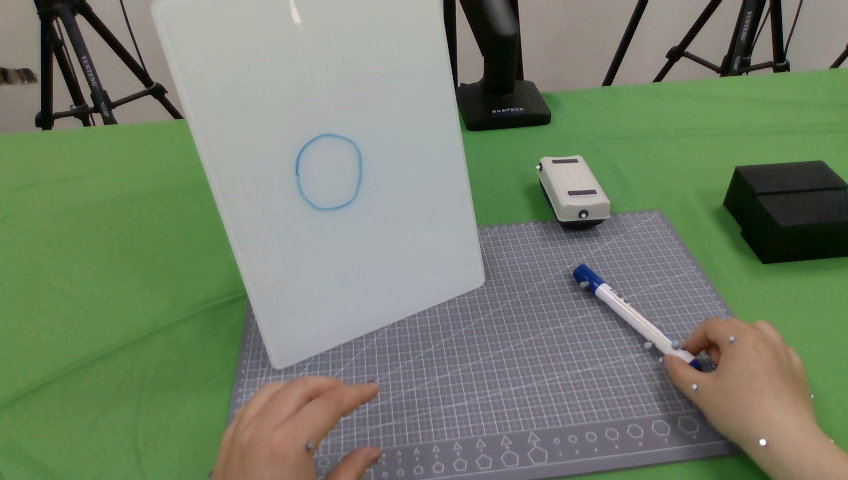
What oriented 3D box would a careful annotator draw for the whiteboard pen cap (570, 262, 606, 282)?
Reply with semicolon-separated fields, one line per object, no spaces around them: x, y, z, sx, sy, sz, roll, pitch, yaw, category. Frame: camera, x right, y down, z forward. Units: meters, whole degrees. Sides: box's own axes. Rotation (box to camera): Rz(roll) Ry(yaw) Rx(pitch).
0.158;0.032;0.587;0.033;0.018;0.018;14;42;7;whiteboard pen cap

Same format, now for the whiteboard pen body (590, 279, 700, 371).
0.190;0.068;0.548;0.017;0.017;0.139;-21;42;-21;whiteboard pen body

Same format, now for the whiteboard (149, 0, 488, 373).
-0.088;-0.078;0.553;0.217;0.307;0.142;-20;24;-20;whiteboard

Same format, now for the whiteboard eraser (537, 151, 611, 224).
0.166;-0.060;0.683;0.055;0.042;0.111;-6;37;-2;whiteboard eraser
